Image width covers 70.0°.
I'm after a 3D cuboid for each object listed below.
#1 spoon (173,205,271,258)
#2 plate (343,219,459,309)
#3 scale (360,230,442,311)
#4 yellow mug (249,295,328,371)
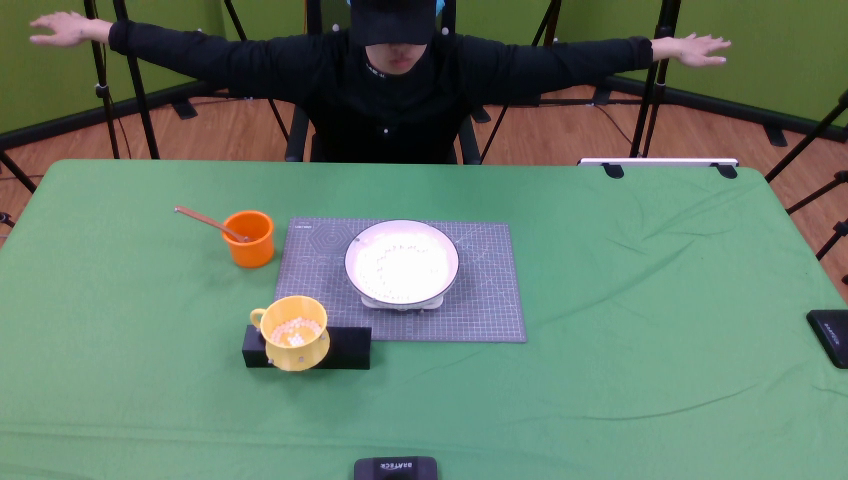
[{"bbox_3d":[-0.362,-0.017,1.098,0.021,0.195,0.041,-32,42,27],"label":"spoon"},{"bbox_3d":[-0.041,0.045,1.094,0.209,0.038,0.208,2,46,-2],"label":"plate"},{"bbox_3d":[-0.042,0.047,1.138,0.149,0.032,0.199,2,46,-3],"label":"scale"},{"bbox_3d":[-0.216,0.139,0.946,0.130,0.064,0.099,17,47,12],"label":"yellow mug"}]
